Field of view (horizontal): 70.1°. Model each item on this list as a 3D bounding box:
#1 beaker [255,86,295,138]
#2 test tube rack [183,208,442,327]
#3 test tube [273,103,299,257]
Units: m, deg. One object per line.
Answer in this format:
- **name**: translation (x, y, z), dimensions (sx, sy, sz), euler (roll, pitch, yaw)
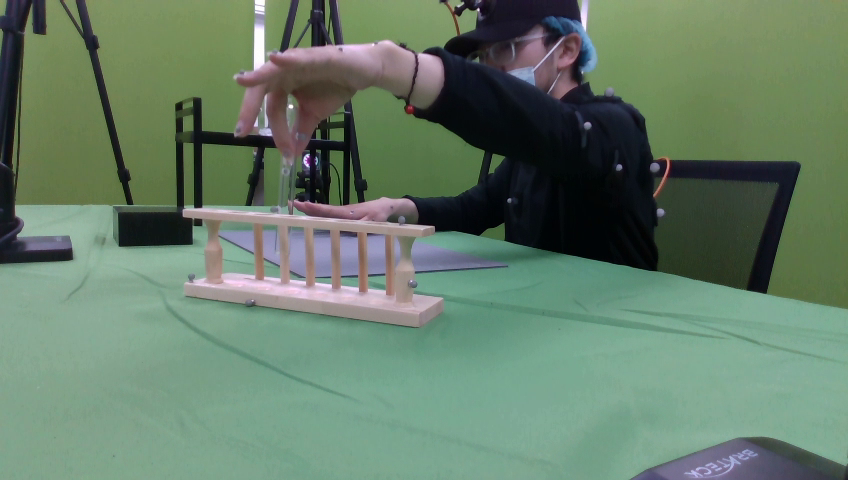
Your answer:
- **beaker**: translation (-0.309, -0.263, 1.251), dimensions (0.084, 0.100, 0.073), euler (-4, 9, -38)
- **test tube rack**: translation (-0.106, 0.019, 0.570), dimensions (0.241, 0.085, 0.067), euler (5, 7, 19)
- **test tube**: translation (-0.136, -0.058, 0.594), dimensions (0.017, 0.150, 0.017), euler (5, 6, 0)
